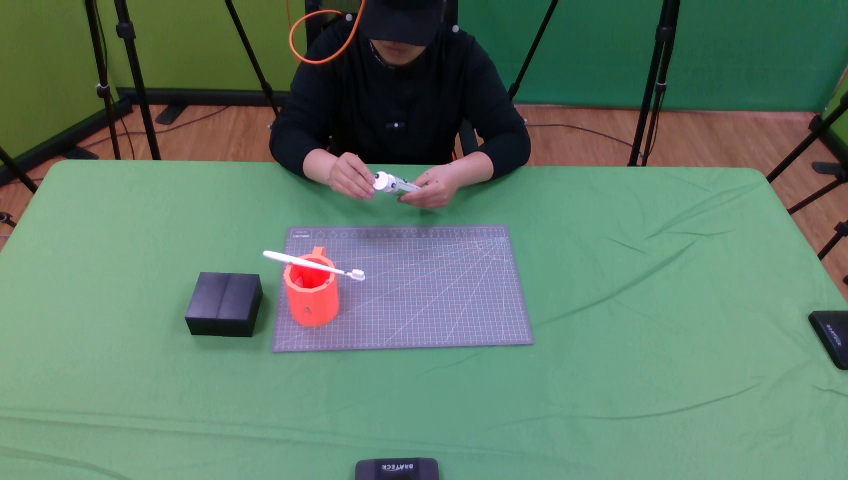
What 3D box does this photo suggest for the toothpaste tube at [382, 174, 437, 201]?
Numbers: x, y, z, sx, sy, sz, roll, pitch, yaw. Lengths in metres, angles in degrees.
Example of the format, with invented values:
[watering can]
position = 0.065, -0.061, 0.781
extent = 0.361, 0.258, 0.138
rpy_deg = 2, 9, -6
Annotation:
[toothpaste tube]
position = -0.036, -0.100, 1.189
extent = 0.055, 0.166, 0.034
rpy_deg = -6, 79, 29

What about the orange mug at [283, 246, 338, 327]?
[orange mug]
position = -0.192, 0.074, 1.056
extent = 0.083, 0.101, 0.125
rpy_deg = 5, 50, 1

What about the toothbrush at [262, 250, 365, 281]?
[toothbrush]
position = -0.186, 0.041, 1.015
extent = 0.182, 0.017, 0.014
rpy_deg = 13, 55, 8

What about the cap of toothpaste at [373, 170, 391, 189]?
[cap of toothpaste]
position = -0.078, -0.112, 1.122
extent = 0.037, 0.011, 0.037
rpy_deg = -4, 82, 26
